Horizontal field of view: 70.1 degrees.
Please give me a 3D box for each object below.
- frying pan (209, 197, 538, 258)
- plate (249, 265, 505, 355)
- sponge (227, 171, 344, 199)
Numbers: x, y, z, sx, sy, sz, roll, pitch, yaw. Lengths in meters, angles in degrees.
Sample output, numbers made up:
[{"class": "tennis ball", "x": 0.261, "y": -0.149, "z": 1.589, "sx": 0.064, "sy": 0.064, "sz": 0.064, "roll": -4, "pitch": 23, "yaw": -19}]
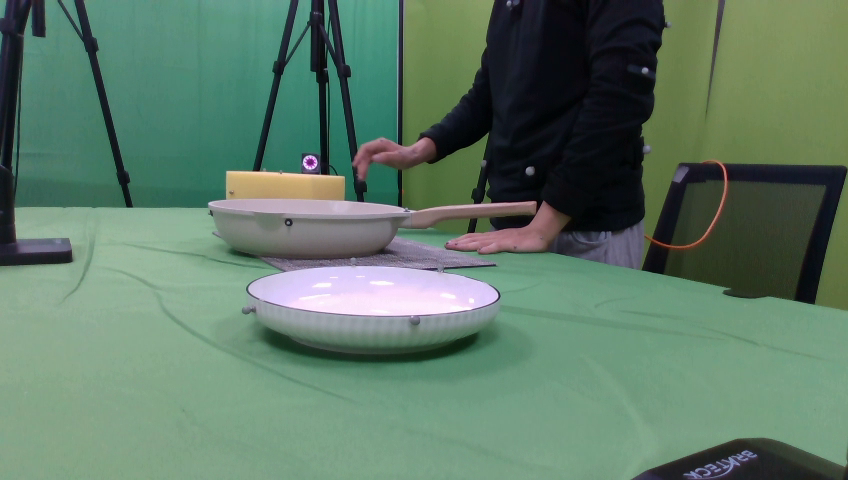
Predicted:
[{"class": "frying pan", "x": -0.076, "y": -0.034, "z": 0.912, "sx": 0.487, "sy": 0.102, "sz": 0.307, "roll": -5, "pitch": 7, "yaw": 12}, {"class": "plate", "x": -0.037, "y": 0.056, "z": 0.504, "sx": 0.208, "sy": 0.039, "sz": 0.207, "roll": 2, "pitch": 7, "yaw": 0}, {"class": "sponge", "x": -0.283, "y": -0.108, "z": 1.242, "sx": 0.206, "sy": 0.061, "sz": 0.118, "roll": 5, "pitch": 8, "yaw": 23}]
